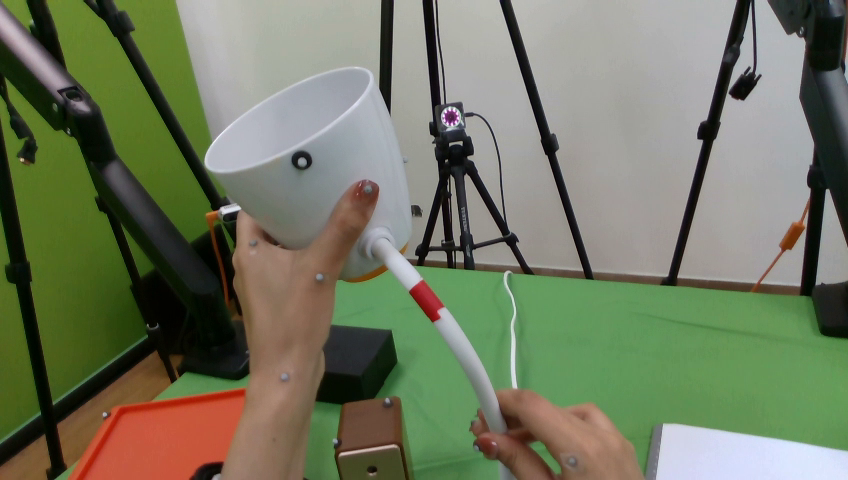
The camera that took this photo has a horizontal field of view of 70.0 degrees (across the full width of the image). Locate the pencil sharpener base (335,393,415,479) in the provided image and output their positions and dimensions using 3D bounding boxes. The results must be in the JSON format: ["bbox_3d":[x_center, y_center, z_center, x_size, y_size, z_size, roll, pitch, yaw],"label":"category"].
[{"bbox_3d":[-0.044,0.213,0.586,0.061,0.108,0.076,-9,24,0],"label":"pencil sharpener base"}]

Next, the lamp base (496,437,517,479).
[{"bbox_3d":[0.066,0.238,0.402,0.161,0.181,0.178,-11,21,-3],"label":"lamp base"}]

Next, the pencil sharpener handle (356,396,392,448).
[{"bbox_3d":[-0.050,0.182,0.627,0.036,0.068,0.030,-4,24,-3],"label":"pencil sharpener handle"}]

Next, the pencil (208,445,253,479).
[{"bbox_3d":[-0.242,0.264,0.576,0.012,0.012,0.194,17,46,44],"label":"pencil"}]

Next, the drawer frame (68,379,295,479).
[{"bbox_3d":[-0.246,0.246,0.606,0.202,0.083,0.212,-9,23,-1],"label":"drawer frame"}]

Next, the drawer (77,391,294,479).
[{"bbox_3d":[-0.244,0.249,0.604,0.194,0.074,0.210,-9,23,0],"label":"drawer"}]

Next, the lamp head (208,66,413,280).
[{"bbox_3d":[-0.055,-0.032,0.387,0.112,0.124,0.111,-22,28,13],"label":"lamp head"}]
